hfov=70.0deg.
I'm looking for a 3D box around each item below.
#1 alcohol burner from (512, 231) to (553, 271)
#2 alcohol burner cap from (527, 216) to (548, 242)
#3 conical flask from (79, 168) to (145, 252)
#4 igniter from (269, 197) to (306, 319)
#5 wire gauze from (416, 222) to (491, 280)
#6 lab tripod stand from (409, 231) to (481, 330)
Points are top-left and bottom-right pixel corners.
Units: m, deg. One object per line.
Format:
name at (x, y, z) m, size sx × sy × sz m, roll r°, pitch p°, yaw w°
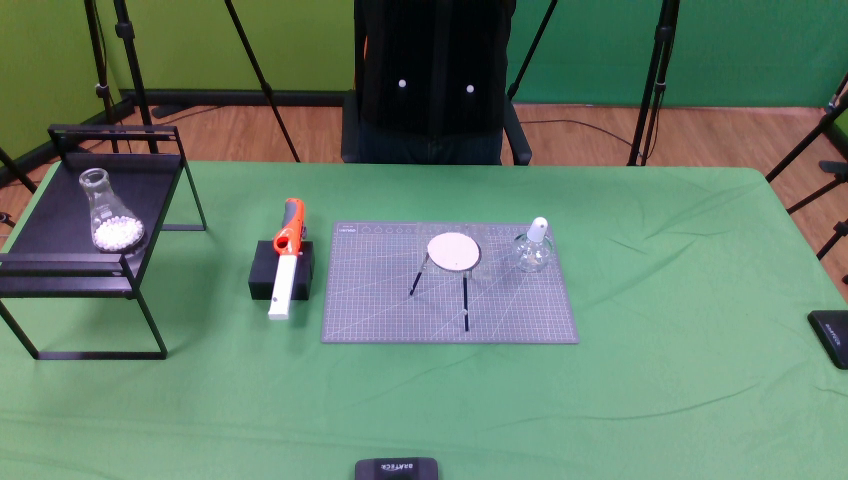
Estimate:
alcohol burner at (0.208, 0.002, 1.144) m, size 0.078 × 0.119 × 0.077 m, roll 3°, pitch 44°, yaw -3°
alcohol burner cap at (0.212, -0.023, 1.119) m, size 0.034 × 0.048 × 0.033 m, roll 8°, pitch 46°, yaw -8°
conical flask at (-0.463, -0.048, 0.888) m, size 0.075 × 0.122 × 0.075 m, roll 2°, pitch 46°, yaw -2°
igniter at (-0.246, 0.023, 1.087) m, size 0.057 × 0.025 × 0.274 m, roll -1°, pitch 49°, yaw -2°
wire gauze at (0.048, 0.014, 1.013) m, size 0.125 × 0.011 × 0.120 m, roll 3°, pitch 47°, yaw -3°
lab tripod stand at (0.051, 0.064, 1.059) m, size 0.148 × 0.132 × 0.147 m, roll 3°, pitch 46°, yaw -3°
